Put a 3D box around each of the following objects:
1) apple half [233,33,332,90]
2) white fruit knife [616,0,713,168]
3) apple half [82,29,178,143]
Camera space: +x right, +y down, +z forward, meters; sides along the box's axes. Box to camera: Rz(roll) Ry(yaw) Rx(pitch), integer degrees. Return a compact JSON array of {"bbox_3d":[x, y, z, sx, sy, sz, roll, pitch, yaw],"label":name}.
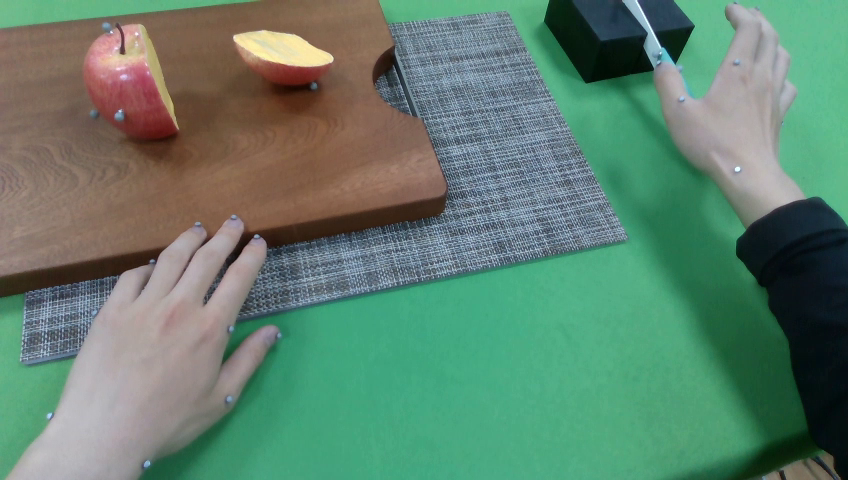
[{"bbox_3d":[-0.122,-0.145,0.510,0.081,0.033,0.080,13,34,-9],"label":"apple half"},{"bbox_3d":[0.217,-0.163,0.564,0.016,0.027,0.206,-17,74,-11],"label":"white fruit knife"},{"bbox_3d":[-0.226,-0.112,0.460,0.053,0.075,0.080,-19,63,-12],"label":"apple half"}]
